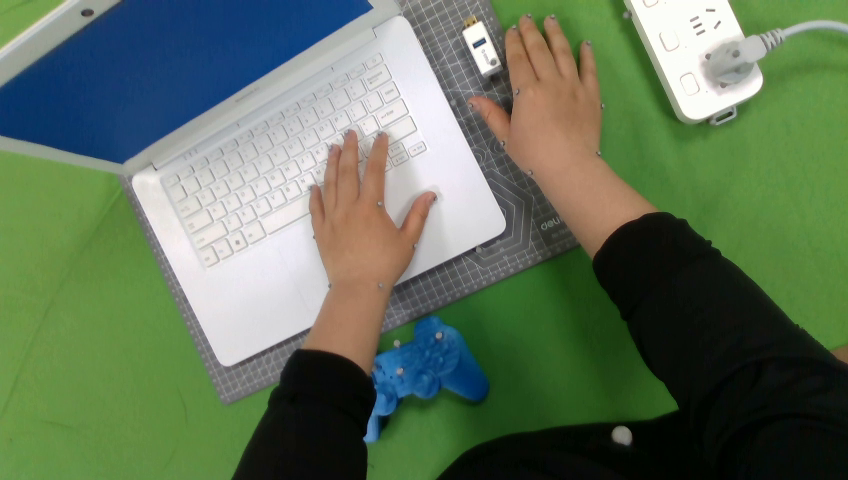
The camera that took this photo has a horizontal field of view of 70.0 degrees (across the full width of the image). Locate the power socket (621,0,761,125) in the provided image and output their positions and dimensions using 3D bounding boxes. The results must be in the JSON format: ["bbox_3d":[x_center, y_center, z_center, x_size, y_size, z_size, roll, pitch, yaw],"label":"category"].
[{"bbox_3d":[0.218,-0.208,0.530,0.072,0.032,0.226,-24,89,15],"label":"power socket"}]

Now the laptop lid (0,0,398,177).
[{"bbox_3d":[-0.209,-0.153,0.519,0.356,0.243,0.013,-27,80,15],"label":"laptop lid"}]

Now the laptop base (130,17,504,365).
[{"bbox_3d":[-0.121,-0.040,0.631,0.354,0.023,0.235,-27,92,14],"label":"laptop base"}]

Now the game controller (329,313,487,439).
[{"bbox_3d":[-0.023,0.138,0.611,0.155,0.052,0.097,-25,85,14],"label":"game controller"}]

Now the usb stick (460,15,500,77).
[{"bbox_3d":[0.050,-0.186,0.570,0.021,0.027,0.059,-24,87,14],"label":"usb stick"}]

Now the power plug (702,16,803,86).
[{"bbox_3d":[0.270,-0.152,0.503,0.072,0.053,0.035,-14,90,9],"label":"power plug"}]
